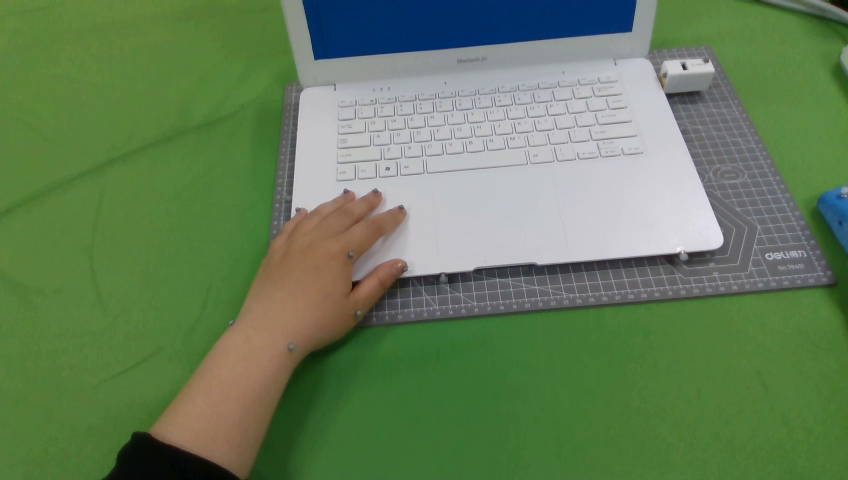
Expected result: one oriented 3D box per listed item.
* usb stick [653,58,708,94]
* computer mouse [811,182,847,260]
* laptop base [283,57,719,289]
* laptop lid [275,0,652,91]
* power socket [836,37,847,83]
[{"bbox_3d":[0.240,-0.158,0.586,0.059,0.027,0.021,-6,55,4],"label":"usb stick"},{"bbox_3d":[0.360,-0.005,0.472,0.063,0.041,0.116,-9,50,1],"label":"computer mouse"},{"bbox_3d":[0.055,-0.069,0.551,0.354,0.023,0.233,-5,57,0],"label":"laptop base"},{"bbox_3d":[0.037,-0.252,0.541,0.357,0.244,0.013,-7,41,1],"label":"laptop lid"},{"bbox_3d":[0.450,-0.116,0.548,0.072,0.033,0.224,-2,54,3],"label":"power socket"}]
